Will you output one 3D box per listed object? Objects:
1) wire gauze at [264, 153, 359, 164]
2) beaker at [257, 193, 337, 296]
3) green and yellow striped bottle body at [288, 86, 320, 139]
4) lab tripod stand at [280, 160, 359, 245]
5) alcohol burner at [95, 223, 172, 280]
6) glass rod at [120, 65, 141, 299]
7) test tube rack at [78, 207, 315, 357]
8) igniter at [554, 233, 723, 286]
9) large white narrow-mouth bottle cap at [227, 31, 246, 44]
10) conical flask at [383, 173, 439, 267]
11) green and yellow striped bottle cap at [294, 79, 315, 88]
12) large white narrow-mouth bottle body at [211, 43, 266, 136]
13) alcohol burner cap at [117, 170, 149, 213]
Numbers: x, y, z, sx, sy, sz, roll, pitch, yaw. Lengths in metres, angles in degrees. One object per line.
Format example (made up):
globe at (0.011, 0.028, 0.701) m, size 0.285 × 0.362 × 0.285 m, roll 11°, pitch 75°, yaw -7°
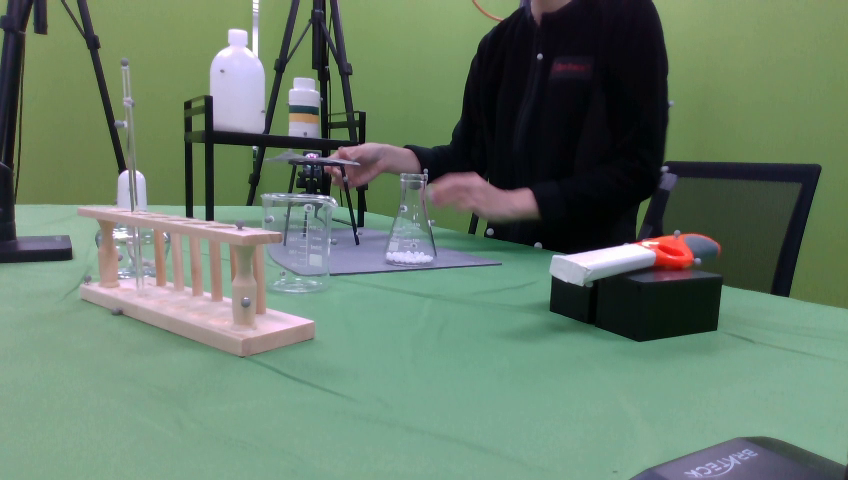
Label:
wire gauze at (-0.181, -0.129, 0.969) m, size 0.126 × 0.011 × 0.121 m, roll -1°, pitch 7°, yaw -27°
beaker at (-0.130, 0.003, 0.628) m, size 0.084 × 0.100 × 0.074 m, roll 5°, pitch 8°, yaw 15°
green and yellow striped bottle body at (-0.250, -0.272, 1.261) m, size 0.063 × 0.119 × 0.063 m, roll 3°, pitch 7°, yaw 0°
lab tripod stand at (-0.176, -0.062, 0.973) m, size 0.148 × 0.131 × 0.148 m, roll 0°, pitch 7°, yaw 0°
alcohol burner at (-0.320, -0.017, 0.667) m, size 0.078 × 0.119 × 0.078 m, roll 0°, pitch 7°, yaw 0°
glass rod at (-0.249, -0.047, 0.513) m, size 0.008 × 0.199 × 0.008 m, roll -1°, pitch 4°, yaw 0°
test tube rack at (-0.196, 0.023, 0.500) m, size 0.241 × 0.085 × 0.067 m, roll 8°, pitch 9°, yaw 37°
igniter at (0.214, 0.015, 0.570) m, size 0.278 × 0.025 × 0.057 m, roll -5°, pitch 22°, yaw -44°
large white narrow-mouth bottle cap at (-0.361, -0.388, 1.166) m, size 0.038 × 0.024 × 0.037 m, roll 1°, pitch 7°, yaw 0°
conical flask at (-0.016, -0.028, 0.808) m, size 0.075 × 0.122 × 0.075 m, roll 2°, pitch 8°, yaw 0°
green and yellow striped bottle cap at (-0.248, -0.323, 1.256) m, size 0.045 × 0.020 × 0.045 m, roll 3°, pitch 9°, yaw 0°
large white narrow-mouth bottle body at (-0.361, -0.302, 1.176) m, size 0.102 × 0.194 × 0.102 m, roll 1°, pitch 7°, yaw 0°
alcohol burner cap at (-0.320, -0.053, 0.661) m, size 0.034 × 0.048 × 0.034 m, roll -3°, pitch 0°, yaw 0°
